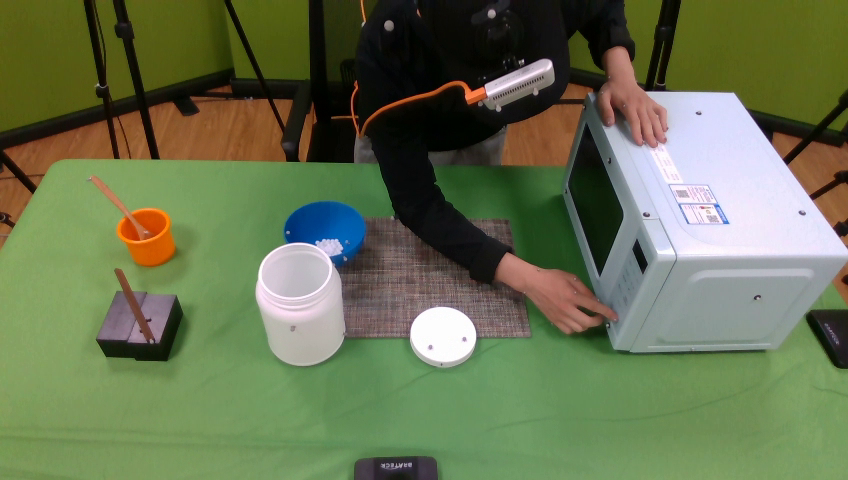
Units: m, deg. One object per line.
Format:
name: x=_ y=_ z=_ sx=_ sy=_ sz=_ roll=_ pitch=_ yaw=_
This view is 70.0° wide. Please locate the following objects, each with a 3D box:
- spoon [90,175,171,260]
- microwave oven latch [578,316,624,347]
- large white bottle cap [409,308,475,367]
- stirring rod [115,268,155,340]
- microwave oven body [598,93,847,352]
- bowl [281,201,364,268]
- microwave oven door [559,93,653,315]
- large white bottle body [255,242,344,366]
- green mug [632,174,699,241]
spoon: x=-0.538 y=-0.042 z=1.112 sx=0.021 sy=0.194 sz=0.041 roll=-13 pitch=27 yaw=53
microwave oven latch: x=0.308 y=0.152 z=1.043 sx=0.079 sy=0.029 sz=0.030 roll=32 pitch=51 yaw=25
large white bottle cap: x=0.031 y=0.166 z=1.041 sx=0.115 sy=0.018 sz=0.114 roll=2 pitch=46 yaw=-2
stirring rod: x=-0.478 y=0.103 z=0.999 sx=0.014 sy=0.006 sz=0.175 roll=7 pitch=32 yaw=-49
microwave oven body: x=0.476 y=-0.042 z=1.109 sx=0.326 sy=0.261 sz=0.438 roll=-1 pitch=45 yaw=-4
bowl: x=-0.187 y=0.005 z=1.138 sx=0.151 sy=0.077 sz=0.150 roll=3 pitch=46 yaw=-3
microwave oven door: x=0.327 y=-0.074 z=1.123 sx=0.039 sy=0.245 sz=0.353 roll=-1 pitch=46 yaw=-5
large white bottle body: x=-0.196 y=0.102 z=0.967 sx=0.131 sy=0.185 sz=0.130 roll=2 pitch=49 yaw=-2
green mug: x=0.456 y=-0.056 z=1.153 sx=0.125 sy=0.105 sz=0.092 roll=-16 pitch=45 yaw=-10
